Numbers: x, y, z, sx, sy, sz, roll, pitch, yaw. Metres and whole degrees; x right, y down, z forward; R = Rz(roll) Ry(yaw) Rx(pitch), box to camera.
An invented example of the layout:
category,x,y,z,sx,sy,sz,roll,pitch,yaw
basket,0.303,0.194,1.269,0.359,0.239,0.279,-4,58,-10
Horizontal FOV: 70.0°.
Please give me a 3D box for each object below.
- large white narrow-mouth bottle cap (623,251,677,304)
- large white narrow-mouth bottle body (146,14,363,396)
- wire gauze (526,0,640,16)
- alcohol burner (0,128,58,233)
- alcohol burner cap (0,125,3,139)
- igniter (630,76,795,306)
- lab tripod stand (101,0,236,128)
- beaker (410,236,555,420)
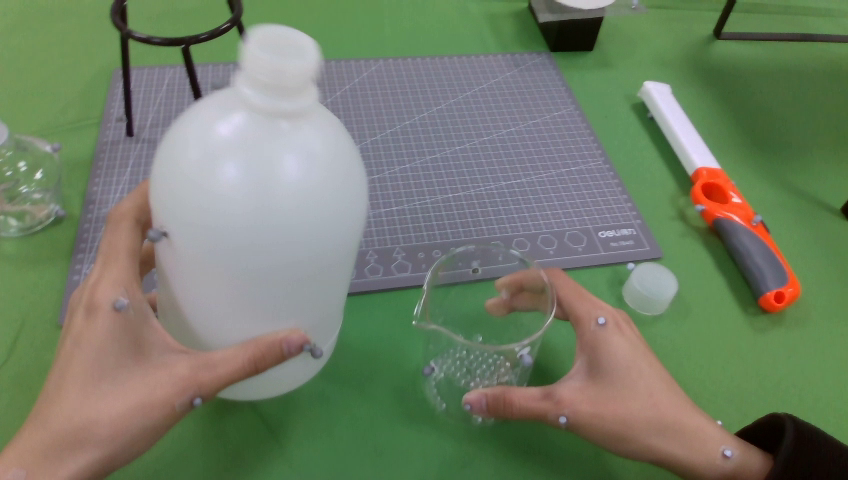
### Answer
category,x,y,z,sx,sy,sz,roll,pitch,yaw
large white narrow-mouth bottle cap,0.173,0.029,0.466,0.038,0.024,0.037,3,50,-3
large white narrow-mouth bottle body,-0.083,-0.013,0.301,0.102,0.196,0.101,10,42,-9
wire gauze,0.161,-0.283,0.670,0.122,0.011,0.123,-4,51,-12
alcohol burner,-0.308,-0.062,0.424,0.078,0.120,0.077,4,48,-4
alcohol burner cap,-0.304,-0.084,0.396,0.034,0.048,0.033,3,56,-4
igniter,0.249,-0.057,0.541,0.057,0.025,0.273,3,50,-18
lab tripod stand,-0.182,-0.124,0.474,0.148,0.132,0.147,5,50,-5
beaker,0.029,0.059,0.370,0.084,0.101,0.073,-17,51,-18
